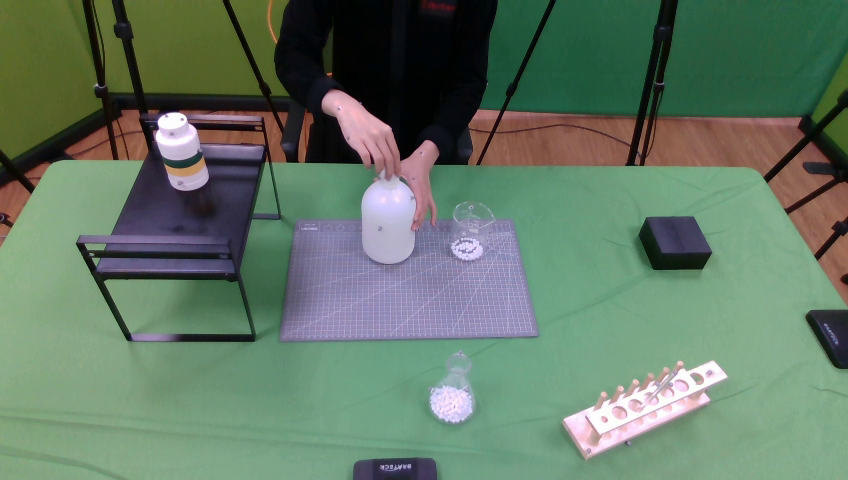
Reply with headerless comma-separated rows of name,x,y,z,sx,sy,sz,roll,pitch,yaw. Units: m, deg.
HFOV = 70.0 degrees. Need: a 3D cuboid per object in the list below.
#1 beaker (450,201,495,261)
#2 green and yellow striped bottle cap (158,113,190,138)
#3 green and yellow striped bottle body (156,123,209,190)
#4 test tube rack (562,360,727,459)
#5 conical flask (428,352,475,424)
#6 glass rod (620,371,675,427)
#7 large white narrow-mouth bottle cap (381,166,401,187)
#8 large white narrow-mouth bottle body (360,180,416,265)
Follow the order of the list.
beaker,0.089,-0.014,1.160,0.084,0.101,0.073,9,47,4
green and yellow striped bottle cap,-0.393,-0.180,0.951,0.045,0.020,0.045,2,44,-2
green and yellow striped bottle body,-0.395,-0.145,0.989,0.063,0.120,0.063,2,46,-2
test tube rack,0.341,0.247,0.940,0.243,0.085,0.066,-16,49,-18
conical flask,0.046,0.220,0.920,0.075,0.122,0.075,2,46,-2
glass rod,0.316,0.230,0.863,0.008,0.200,0.008,3,54,-3
large white narrow-mouth bottle cap,-0.057,-0.111,1.056,0.038,0.024,0.037,4,45,-4
large white narrow-mouth bottle body,-0.066,-0.050,1.119,0.102,0.195,0.101,4,45,-3
